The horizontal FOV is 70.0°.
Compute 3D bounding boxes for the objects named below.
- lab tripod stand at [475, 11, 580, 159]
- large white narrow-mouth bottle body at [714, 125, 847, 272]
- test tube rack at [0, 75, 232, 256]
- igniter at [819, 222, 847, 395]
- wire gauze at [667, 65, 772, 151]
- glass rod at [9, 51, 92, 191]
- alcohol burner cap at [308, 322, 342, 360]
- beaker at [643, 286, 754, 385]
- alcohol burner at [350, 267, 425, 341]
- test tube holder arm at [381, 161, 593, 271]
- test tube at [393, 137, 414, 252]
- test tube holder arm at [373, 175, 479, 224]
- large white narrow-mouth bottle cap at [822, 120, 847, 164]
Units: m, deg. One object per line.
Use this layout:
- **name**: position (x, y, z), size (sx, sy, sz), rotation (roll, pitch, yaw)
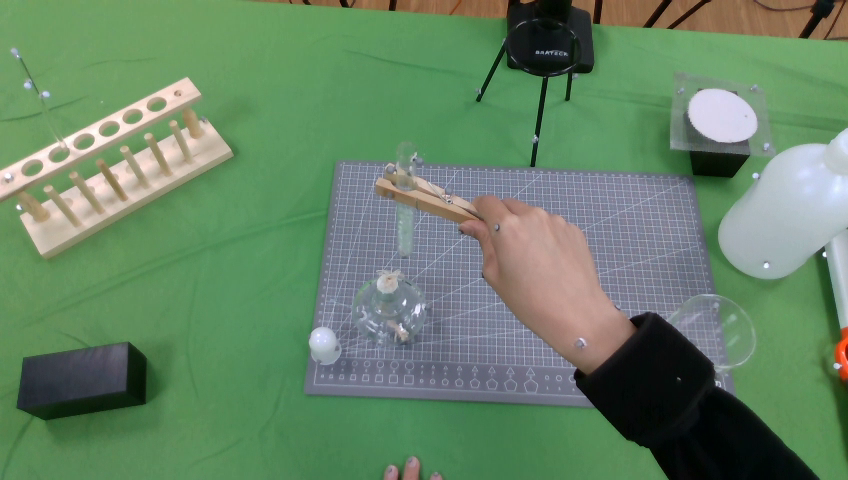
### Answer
- **lab tripod stand**: position (0.135, -0.196, 0.746), size (0.148, 0.132, 0.147), rotation (1, 63, -2)
- **large white narrow-mouth bottle body**: position (0.393, -0.049, 0.640), size (0.102, 0.196, 0.101), rotation (0, 61, -1)
- **test tube rack**: position (-0.357, -0.088, 0.703), size (0.242, 0.086, 0.066), rotation (-34, 68, -18)
- **igniter**: position (0.466, 0.099, 0.658), size (0.057, 0.025, 0.274), rotation (12, 62, -7)
- **wire gauze**: position (0.362, -0.163, 0.750), size (0.121, 0.011, 0.124), rotation (9, 62, 4)
- **glass rod**: position (-0.390, -0.115, 0.642), size (0.008, 0.201, 0.008), rotation (3, 54, -4)
- **alcohol burner cap**: position (-0.105, 0.104, 0.629), size (0.034, 0.048, 0.033), rotation (0, 63, 1)
- **beaker**: position (0.267, 0.100, 0.608), size (0.084, 0.101, 0.073), rotation (8, 61, 4)
- **alcohol burner**: position (-0.037, 0.058, 0.614), size (0.078, 0.120, 0.077), rotation (2, 61, -3)
- **test tube holder arm**: position (0.045, -0.020, 0.463), size (0.177, 0.015, 0.013), rotation (25, 68, 13)
- **test tube**: position (-0.017, -0.031, 0.498), size (0.017, 0.151, 0.017), rotation (1, 60, -1)
- **test tube holder arm**: position (0.002, -0.032, 0.470), size (0.087, 0.015, 0.010), rotation (18, 66, 10)
- **large white narrow-mouth bottle cap**: position (0.394, -0.091, 0.564), size (0.038, 0.024, 0.037), rotation (1, 61, -1)
